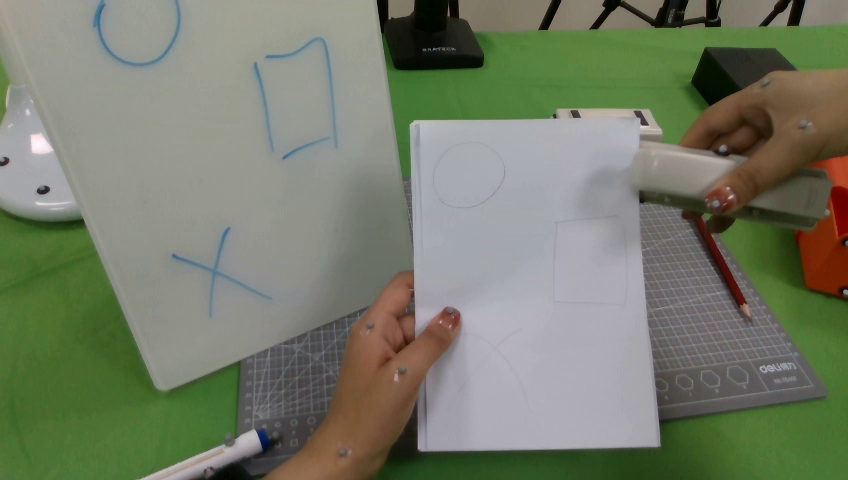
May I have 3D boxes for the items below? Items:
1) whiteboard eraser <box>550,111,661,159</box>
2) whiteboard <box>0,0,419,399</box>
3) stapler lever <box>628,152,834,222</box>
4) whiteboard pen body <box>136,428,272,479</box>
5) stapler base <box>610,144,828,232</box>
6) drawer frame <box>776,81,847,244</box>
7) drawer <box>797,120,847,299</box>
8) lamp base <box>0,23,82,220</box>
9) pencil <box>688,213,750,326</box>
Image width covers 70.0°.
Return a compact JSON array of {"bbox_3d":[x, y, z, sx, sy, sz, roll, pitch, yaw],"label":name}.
[{"bbox_3d":[0.203,-0.118,0.681,0.113,0.042,0.055,0,46,-6],"label":"whiteboard eraser"},{"bbox_3d":[-0.147,-0.079,0.458,0.217,0.308,0.142,-21,31,-23],"label":"whiteboard"},{"bbox_3d":[0.185,-0.032,0.366,0.118,0.027,0.040,10,11,11],"label":"stapler lever"},{"bbox_3d":[-0.166,0.153,0.381,0.141,0.017,0.017,-18,49,-25],"label":"whiteboard pen body"},{"bbox_3d":[0.189,-0.034,0.390,0.130,0.041,0.024,10,11,11],"label":"stapler base"},{"bbox_3d":[0.489,-0.063,0.626,0.201,0.083,0.212,14,45,10],"label":"drawer frame"},{"bbox_3d":[0.470,-0.021,0.583,0.194,0.074,0.210,15,45,10],"label":"drawer"},{"bbox_3d":[-0.342,-0.135,0.540,0.178,0.182,0.160,24,47,21],"label":"lamp base"},{"bbox_3d":[0.274,0.003,0.585,0.012,0.012,0.192,0,47,-5],"label":"pencil"}]
